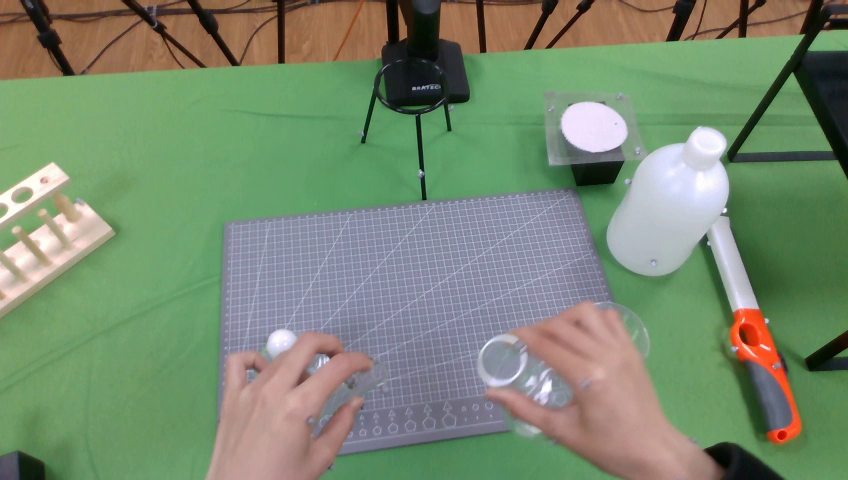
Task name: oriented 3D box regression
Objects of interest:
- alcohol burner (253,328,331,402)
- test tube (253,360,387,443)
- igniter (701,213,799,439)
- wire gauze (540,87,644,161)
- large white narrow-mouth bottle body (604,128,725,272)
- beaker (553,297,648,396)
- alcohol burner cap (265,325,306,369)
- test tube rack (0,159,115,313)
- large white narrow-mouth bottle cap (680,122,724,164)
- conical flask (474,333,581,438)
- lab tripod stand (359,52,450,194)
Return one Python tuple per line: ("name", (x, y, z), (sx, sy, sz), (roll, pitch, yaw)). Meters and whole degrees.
("alcohol burner", (-0.133, 0.117, 0.601), (0.078, 0.120, 0.077), (2, 57, -3))
("test tube", (-0.083, 0.125, 0.457), (0.017, 0.150, 0.017), (34, 37, -32))
("igniter", (0.365, 0.086, 0.692), (0.057, 0.025, 0.274), (4, 58, -11))
("wire gauze", (0.214, -0.152, 0.783), (0.121, 0.011, 0.124), (1, 59, -2))
("large white narrow-mouth bottle body", (0.272, -0.050, 0.672), (0.102, 0.196, 0.101), (1, 58, -1))
("beaker", (0.173, 0.114, 0.623), (0.084, 0.101, 0.073), (-1, 58, -1))
("alcohol burner cap", (-0.132, 0.099, 0.570), (0.034, 0.048, 0.033), (-2, 59, 3))
("test tube rack", (-0.479, 0.024, 0.663), (0.066, 0.086, 0.242), (38, 65, 19))
("large white narrow-mouth bottle cap", (0.274, -0.096, 0.599), (0.038, 0.024, 0.037), (1, 59, -1))
("conical flask", (0.075, 0.108, 0.473), (0.075, 0.123, 0.074), (-11, 61, 21))
("lab tripod stand", (-0.015, -0.152, 0.759), (0.148, 0.132, 0.147), (2, 60, -3))
